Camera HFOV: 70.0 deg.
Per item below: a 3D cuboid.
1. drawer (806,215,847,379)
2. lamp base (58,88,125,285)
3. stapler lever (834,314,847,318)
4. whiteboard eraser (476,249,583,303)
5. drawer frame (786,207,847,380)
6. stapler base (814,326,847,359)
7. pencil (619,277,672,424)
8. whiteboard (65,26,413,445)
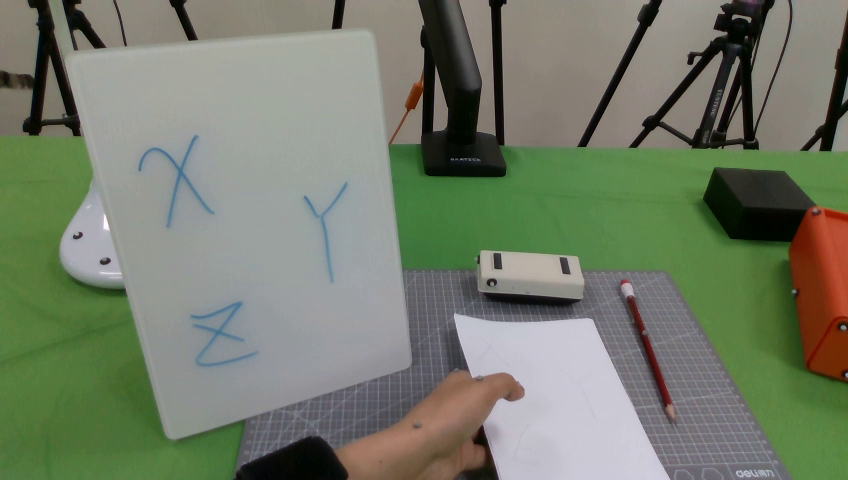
[{"bbox_3d":[0.503,0.070,0.628,0.193,0.074,0.211,15,36,16],"label":"drawer"},{"bbox_3d":[-0.330,-0.069,0.649,0.177,0.182,0.160,25,41,30],"label":"lamp base"},{"bbox_3d":[0.466,0.090,0.588,0.117,0.040,0.027,15,36,21],"label":"stapler lever"},{"bbox_3d":[0.113,0.040,0.659,0.113,0.042,0.055,4,37,0],"label":"whiteboard eraser"},{"bbox_3d":[0.503,0.068,0.630,0.201,0.083,0.212,14,36,15],"label":"drawer frame"},{"bbox_3d":[0.464,0.110,0.601,0.130,0.024,0.041,17,36,20],"label":"stapler base"},{"bbox_3d":[0.222,0.104,0.611,0.012,0.012,0.192,4,38,0],"label":"pencil"},{"bbox_3d":[-0.148,-0.018,0.539,0.218,0.307,0.142,-12,20,-20],"label":"whiteboard"}]
